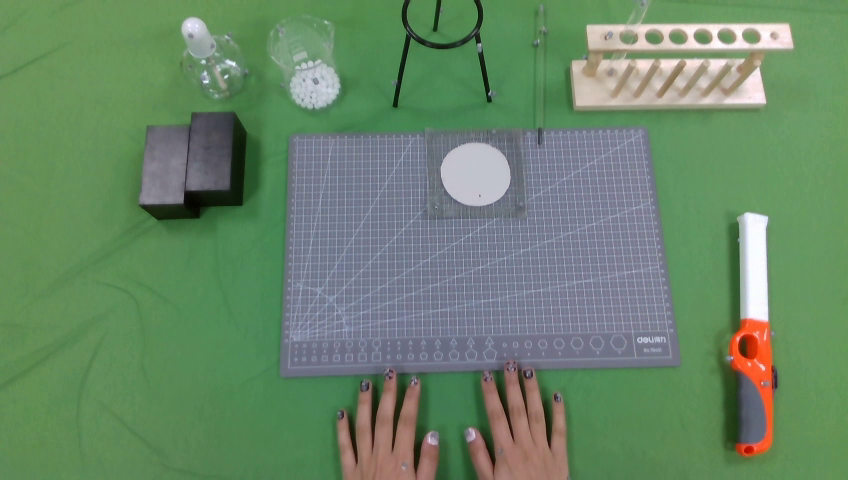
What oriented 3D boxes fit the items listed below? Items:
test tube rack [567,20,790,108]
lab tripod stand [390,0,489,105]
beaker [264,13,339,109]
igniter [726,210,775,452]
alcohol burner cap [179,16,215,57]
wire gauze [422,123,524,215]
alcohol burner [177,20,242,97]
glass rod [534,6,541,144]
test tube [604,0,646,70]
[{"bbox_3d":[0.309,-0.215,0.746,0.242,0.085,0.066,-1,73,-1],"label":"test tube rack"},{"bbox_3d":[0.015,-0.235,0.723,0.148,0.132,0.147,0,73,1],"label":"lab tripod stand"},{"bbox_3d":[-0.141,-0.213,0.732,0.084,0.101,0.073,-39,78,-12],"label":"beaker"},{"bbox_3d":[0.369,0.098,0.687,0.057,0.025,0.275,11,74,-8],"label":"igniter"},{"bbox_3d":[-0.261,-0.235,0.692,0.034,0.048,0.033,1,75,-4],"label":"alcohol burner cap"},{"bbox_3d":[0.059,-0.088,0.744,0.125,0.011,0.120,0,73,0],"label":"wire gauze"},{"bbox_3d":[-0.262,-0.224,0.727,0.078,0.120,0.077,0,72,-1],"label":"alcohol burner"},{"bbox_3d":[0.147,-0.216,0.783,0.008,0.008,0.198,4,75,0],"label":"glass rod"},{"bbox_3d":[0.235,-0.247,0.703,0.017,0.151,0.017,0,70,1],"label":"test tube"}]
